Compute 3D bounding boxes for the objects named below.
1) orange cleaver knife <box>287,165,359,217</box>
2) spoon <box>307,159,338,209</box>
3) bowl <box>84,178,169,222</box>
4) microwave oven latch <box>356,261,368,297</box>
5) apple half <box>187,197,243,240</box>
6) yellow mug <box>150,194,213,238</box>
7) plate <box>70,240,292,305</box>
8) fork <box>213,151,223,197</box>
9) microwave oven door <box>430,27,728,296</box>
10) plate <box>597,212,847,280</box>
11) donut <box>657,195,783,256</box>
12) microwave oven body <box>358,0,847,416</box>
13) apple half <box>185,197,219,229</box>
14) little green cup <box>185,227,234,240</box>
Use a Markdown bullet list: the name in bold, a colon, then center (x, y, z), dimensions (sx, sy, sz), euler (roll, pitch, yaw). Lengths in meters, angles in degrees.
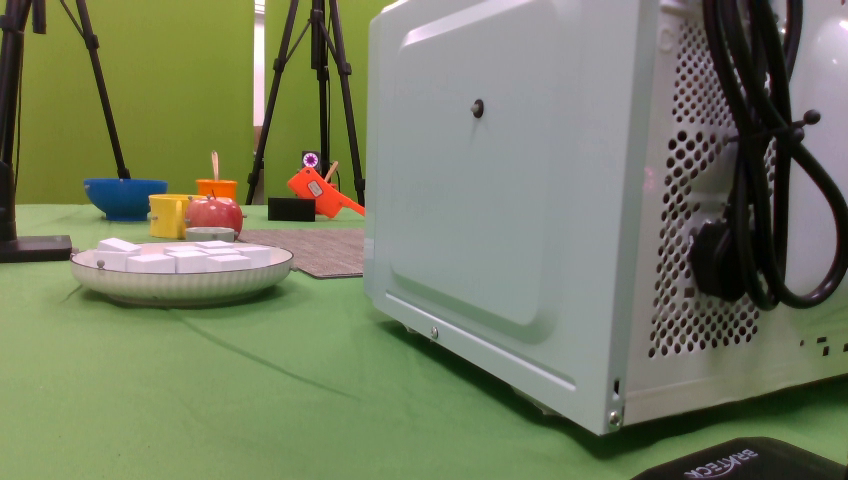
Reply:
- **orange cleaver knife**: center (-0.211, -0.092, 1.382), dimensions (0.212, 0.077, 0.012), euler (34, 1, -15)
- **spoon**: center (-0.257, -0.147, 1.567), dimensions (0.041, 0.022, 0.193), euler (1, 50, 20)
- **bowl**: center (-0.584, -0.078, 1.193), dimensions (0.151, 0.077, 0.151), euler (3, 8, 0)
- **microwave oven latch**: center (-0.020, 0.033, 0.530), dimensions (0.079, 0.029, 0.030), euler (-1, 7, -27)
- **apple half**: center (-0.305, -0.026, 0.907), dimensions (0.053, 0.074, 0.081), euler (12, 8, 31)
- **yellow mug**: center (-0.401, -0.040, 1.003), dimensions (0.100, 0.064, 0.130), euler (-1, 9, -20)
- **plate**: center (-0.242, 0.031, 0.618), dimensions (0.208, 0.039, 0.207), euler (2, 8, 0)
- **fork**: center (-0.493, -0.143, 1.442), dimensions (0.028, 0.018, 0.206), euler (-4, 53, -18)
- **microwave oven door**: center (0.177, -0.074, 0.628), dimensions (0.358, 0.243, 0.039), euler (-1, 8, -26)
- **plate**: center (0.255, 0.002, 0.519), dimensions (0.209, 0.038, 0.209), euler (2, 7, 0)
- **donut**: center (0.251, -0.012, 0.518), dimensions (0.099, 0.048, 0.099), euler (5, 7, 0)
- **microwave oven body**: center (0.211, -0.047, 0.474), dimensions (0.444, 0.260, 0.324), euler (-1, 8, -28)
- **apple half**: center (-0.338, -0.031, 0.927), dimensions (0.032, 0.081, 0.081), euler (12, 12, 31)
- **little green cup**: center (-0.285, 0.005, 0.805), dimensions (0.061, 0.038, 0.061), euler (3, 8, 0)
